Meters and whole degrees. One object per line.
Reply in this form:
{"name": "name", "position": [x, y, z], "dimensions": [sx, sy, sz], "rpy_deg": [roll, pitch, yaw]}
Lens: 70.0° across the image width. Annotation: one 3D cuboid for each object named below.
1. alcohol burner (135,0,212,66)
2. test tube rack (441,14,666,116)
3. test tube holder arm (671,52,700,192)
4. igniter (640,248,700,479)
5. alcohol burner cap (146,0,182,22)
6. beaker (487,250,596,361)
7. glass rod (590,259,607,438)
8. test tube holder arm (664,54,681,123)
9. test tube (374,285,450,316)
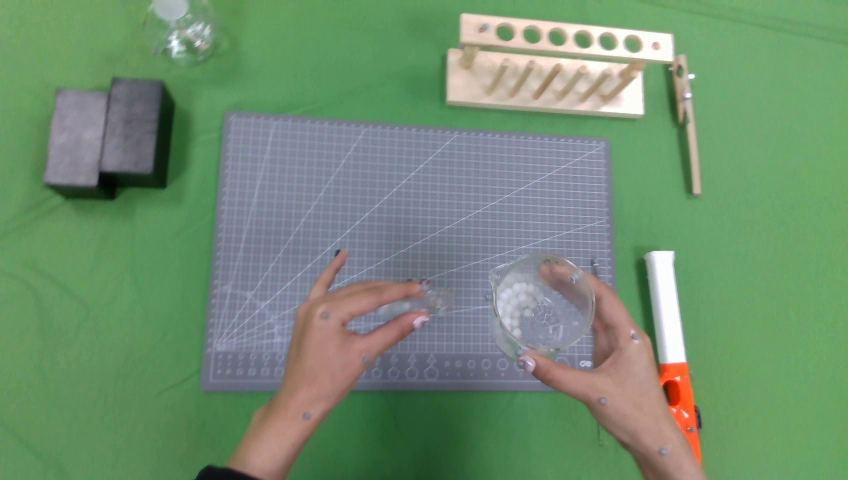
{"name": "alcohol burner", "position": [-0.265, -0.233, 0.629], "dimensions": [0.078, 0.119, 0.077], "rpy_deg": [2, 76, -6]}
{"name": "test tube rack", "position": [0.146, -0.199, 0.701], "dimensions": [0.243, 0.085, 0.066], "rpy_deg": [2, 78, -8]}
{"name": "test tube holder arm", "position": [0.323, -0.147, 0.751], "dimensions": [0.013, 0.015, 0.177], "rpy_deg": [-11, 79, 25]}
{"name": "igniter", "position": [0.277, 0.145, 0.684], "dimensions": [0.057, 0.025, 0.275], "rpy_deg": [0, 79, -19]}
{"name": "alcohol burner cap", "position": [-0.259, -0.242, 0.595], "dimensions": [0.034, 0.048, 0.033], "rpy_deg": [4, 72, -13]}
{"name": "beaker", "position": [0.085, 0.056, 0.485], "dimensions": [0.083, 0.101, 0.074], "rpy_deg": [31, 75, 12]}
{"name": "glass rod", "position": [0.195, 0.120, 0.682], "dimensions": [0.008, 0.008, 0.199], "rpy_deg": [1, 78, -9]}
{"name": "test tube holder arm", "position": [0.313, -0.190, 0.761], "dimensions": [0.010, 0.015, 0.087], "rpy_deg": [-11, 79, 25]}
{"name": "test tube", "position": [-0.014, 0.052, 0.508], "dimensions": [0.017, 0.150, 0.017], "rpy_deg": [4, 79, -22]}
